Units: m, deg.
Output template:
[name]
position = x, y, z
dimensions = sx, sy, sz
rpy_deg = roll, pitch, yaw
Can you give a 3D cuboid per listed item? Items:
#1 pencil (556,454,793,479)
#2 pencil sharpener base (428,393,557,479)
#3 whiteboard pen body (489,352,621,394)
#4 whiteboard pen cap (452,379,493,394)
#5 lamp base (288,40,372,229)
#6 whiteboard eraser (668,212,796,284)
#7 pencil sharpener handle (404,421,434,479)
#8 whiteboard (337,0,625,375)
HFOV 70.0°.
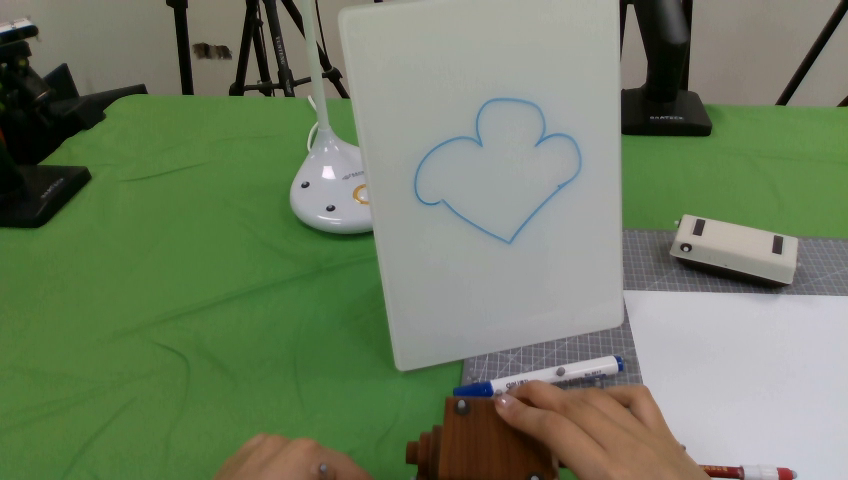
[pencil]
position = 0.124, 0.138, 0.373
dimensions = 0.194, 0.012, 0.012
rpy_deg = 2, 39, 5
[pencil sharpener base]
position = 0.044, 0.156, 0.399
dimensions = 0.076, 0.108, 0.061
rpy_deg = 1, 40, 6
[whiteboard pen body]
position = 0.098, 0.114, 0.508
dimensions = 0.141, 0.017, 0.017
rpy_deg = -10, 39, -7
[whiteboard pen cap]
position = 0.040, 0.126, 0.500
dimensions = 0.033, 0.018, 0.018
rpy_deg = -11, 39, -7
[lamp base]
position = -0.098, -0.129, 0.704
dimensions = 0.161, 0.182, 0.177
rpy_deg = -29, 43, -28
[whiteboard eraser]
position = 0.309, 0.009, 0.610
dimensions = 0.112, 0.042, 0.055
rpy_deg = 16, 44, 22
[pencil sharpener handle]
position = -0.010, 0.148, 0.382
dimensions = 0.030, 0.036, 0.067
rpy_deg = 1, 74, 6
[whiteboard]
position = 0.051, -0.064, 0.559
dimensions = 0.217, 0.307, 0.142
rpy_deg = -10, 20, -7
